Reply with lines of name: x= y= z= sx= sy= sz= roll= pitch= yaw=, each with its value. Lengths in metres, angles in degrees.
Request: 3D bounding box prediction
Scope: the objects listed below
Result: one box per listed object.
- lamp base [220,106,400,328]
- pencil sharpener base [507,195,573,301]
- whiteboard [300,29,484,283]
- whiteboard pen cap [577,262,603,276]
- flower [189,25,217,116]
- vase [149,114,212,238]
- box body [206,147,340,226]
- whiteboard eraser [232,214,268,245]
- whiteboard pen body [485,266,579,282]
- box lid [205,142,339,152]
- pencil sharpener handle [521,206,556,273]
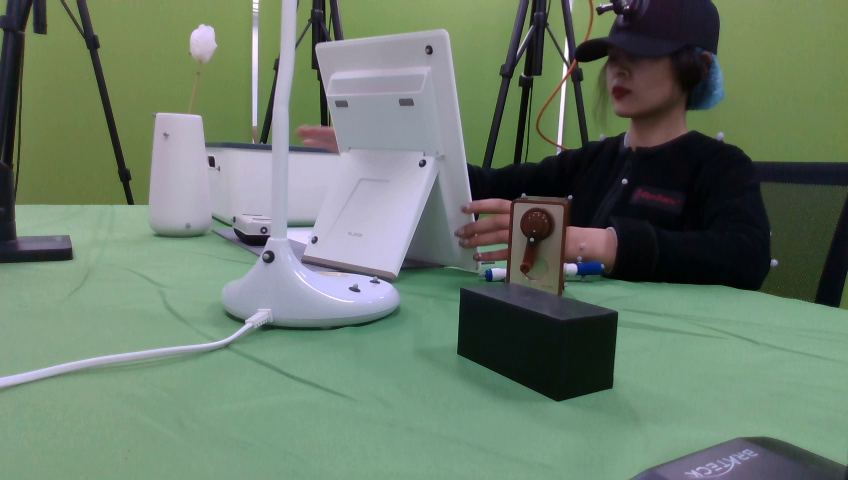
lamp base: x=-0.101 y=-0.023 z=0.531 sx=0.160 sy=0.180 sz=0.179 roll=4 pitch=10 yaw=10
pencil sharpener base: x=0.127 y=0.007 z=0.663 sx=0.061 sy=0.107 sz=0.077 roll=5 pitch=8 yaw=15
whiteboard: x=-0.074 y=-0.082 z=0.742 sx=0.216 sy=0.305 sz=0.144 roll=9 pitch=29 yaw=38
whiteboard pen cap: x=0.203 y=0.036 z=0.748 sx=0.033 sy=0.018 sz=0.018 roll=-3 pitch=8 yaw=-7
flower: x=-0.394 y=-0.189 z=1.012 sx=0.044 sy=0.361 sz=0.038 roll=-1 pitch=-13 yaw=28
vase: x=-0.405 y=-0.106 z=1.005 sx=0.098 sy=0.200 sz=0.098 roll=2 pitch=6 yaw=0
box body: x=-0.276 y=-0.122 z=1.320 sx=0.366 sy=0.160 sz=0.253 roll=-2 pitch=9 yaw=-30
whiteboard eraser: x=-0.264 y=-0.018 z=0.953 sx=0.056 sy=0.042 sz=0.112 roll=-2 pitch=9 yaw=-28
whiteboard pen body: x=0.143 y=0.041 z=0.739 sx=0.141 sy=0.017 sz=0.017 roll=-1 pitch=8 yaw=-11
box lid: x=-0.270 y=-0.196 z=1.310 sx=0.373 sy=0.015 sz=0.262 roll=-2 pitch=9 yaw=-30
pencil sharpener handle: x=0.111 y=0.000 z=0.613 sx=0.036 sy=0.067 sz=0.031 roll=13 pitch=10 yaw=14
